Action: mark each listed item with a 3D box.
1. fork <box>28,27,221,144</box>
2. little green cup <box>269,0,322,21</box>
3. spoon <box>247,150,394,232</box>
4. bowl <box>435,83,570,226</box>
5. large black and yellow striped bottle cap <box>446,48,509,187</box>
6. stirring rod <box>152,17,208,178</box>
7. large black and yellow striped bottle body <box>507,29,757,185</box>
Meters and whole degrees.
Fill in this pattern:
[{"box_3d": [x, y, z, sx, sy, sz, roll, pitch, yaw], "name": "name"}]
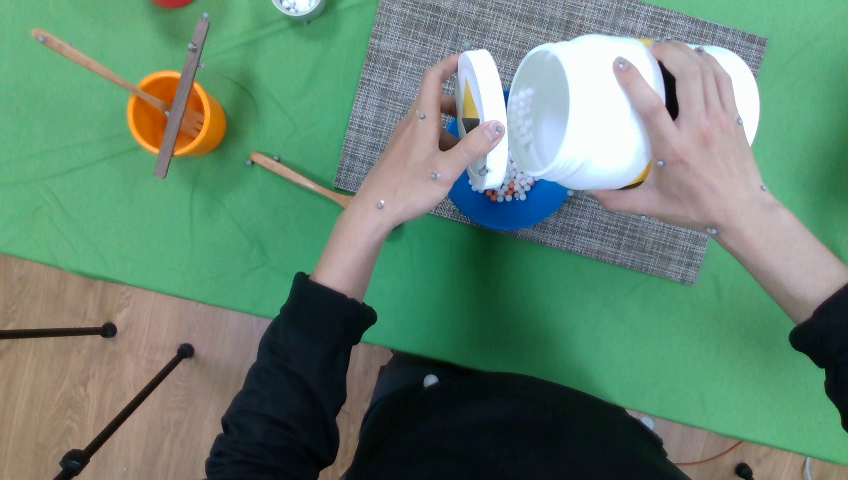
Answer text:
[{"box_3d": [-0.312, -0.162, 0.651, 0.209, 0.018, 0.028, 31, 98, -45], "name": "fork"}, {"box_3d": [-0.146, -0.283, 0.694, 0.061, 0.038, 0.061, 0, 94, 2], "name": "little green cup"}, {"box_3d": [-0.123, -0.064, 0.719, 0.194, 0.021, 0.042, 26, 108, -2], "name": "spoon"}, {"box_3d": [0.088, -0.091, 0.683, 0.151, 0.076, 0.151, 0, 95, 1], "name": "bowl"}, {"box_3d": [0.042, -0.102, 0.511, 0.019, 0.114, 0.115, -7, 94, -14], "name": "large black and yellow striped bottle cap"}, {"box_3d": [-0.261, -0.152, 0.648, 0.014, 0.006, 0.176, 17, 94, -2], "name": "stirring rod"}, {"box_3d": [0.177, -0.114, 0.537, 0.185, 0.130, 0.131, -2, 94, -21], "name": "large black and yellow striped bottle body"}]
